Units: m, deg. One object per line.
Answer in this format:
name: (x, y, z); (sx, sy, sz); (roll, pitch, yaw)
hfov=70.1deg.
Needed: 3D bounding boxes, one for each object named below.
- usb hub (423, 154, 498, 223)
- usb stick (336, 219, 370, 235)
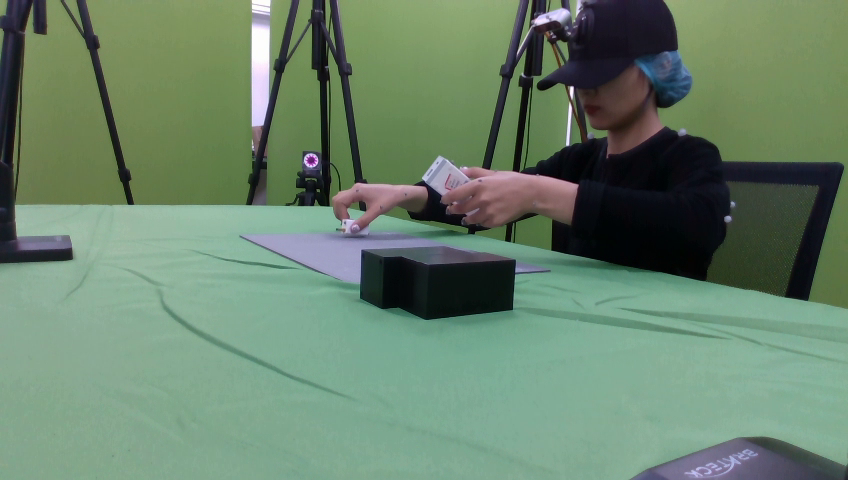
usb hub: (0.059, -0.082, 0.967); (0.126, 0.049, 0.025); (35, 4, -29)
usb stick: (-0.127, -0.023, 1.068); (0.059, 0.027, 0.021); (1, 3, -31)
